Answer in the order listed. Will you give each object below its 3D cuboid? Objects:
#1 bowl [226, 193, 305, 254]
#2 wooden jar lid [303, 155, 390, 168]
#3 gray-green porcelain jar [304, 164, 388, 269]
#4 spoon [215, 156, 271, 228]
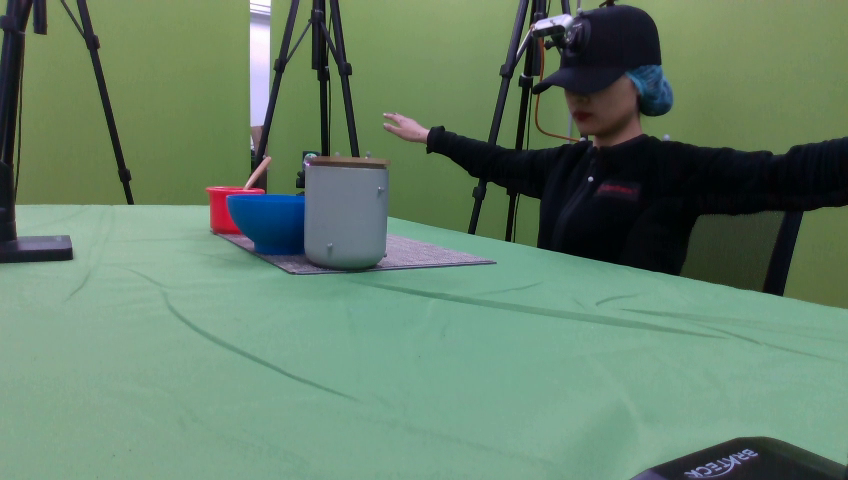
[{"bbox_3d":[-0.205,-0.024,0.866,0.151,0.077,0.151,3,7,0],"label":"bowl"},{"bbox_3d":[-0.097,-0.095,0.761,0.108,0.020,0.108,1,7,0],"label":"wooden jar lid"},{"bbox_3d":[-0.099,-0.031,0.770,0.106,0.126,0.106,2,7,0],"label":"gray-green porcelain jar"},{"bbox_3d":[-0.319,-0.090,1.091,0.041,0.022,0.193,7,52,17],"label":"spoon"}]
